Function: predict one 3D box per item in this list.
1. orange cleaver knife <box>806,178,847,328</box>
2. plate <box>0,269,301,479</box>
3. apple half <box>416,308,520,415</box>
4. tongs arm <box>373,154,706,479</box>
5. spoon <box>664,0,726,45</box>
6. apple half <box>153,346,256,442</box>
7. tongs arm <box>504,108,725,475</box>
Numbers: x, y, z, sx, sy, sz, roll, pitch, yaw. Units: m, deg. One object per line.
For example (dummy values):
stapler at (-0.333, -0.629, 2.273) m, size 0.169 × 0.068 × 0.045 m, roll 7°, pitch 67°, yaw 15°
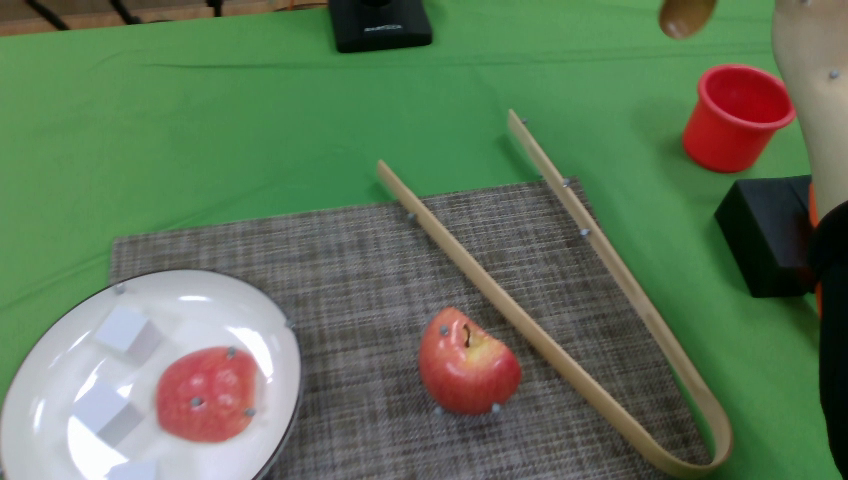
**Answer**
orange cleaver knife at (0.352, 0.047, 0.503) m, size 0.012 × 0.077 × 0.210 m, roll -4°, pitch 84°, yaw -6°
plate at (-0.194, 0.116, 0.447) m, size 0.209 × 0.038 × 0.207 m, roll 2°, pitch 53°, yaw -2°
apple half at (0.025, 0.098, 0.450) m, size 0.080 × 0.075 × 0.053 m, roll 37°, pitch 64°, yaw 18°
tongs arm at (0.071, 0.048, 0.517) m, size 0.028 × 0.028 × 0.384 m, roll -29°, pitch 60°, yaw -27°
spoon at (0.243, -0.209, 0.452) m, size 0.021 × 0.194 × 0.041 m, roll -35°, pitch 85°, yaw -17°
apple half at (-0.164, 0.108, 0.448) m, size 0.081 × 0.033 × 0.080 m, roll 4°, pitch 53°, yaw -4°
tongs arm at (0.144, 0.017, 0.543) m, size 0.051 × 0.027 × 0.380 m, roll -18°, pitch 57°, yaw -17°
